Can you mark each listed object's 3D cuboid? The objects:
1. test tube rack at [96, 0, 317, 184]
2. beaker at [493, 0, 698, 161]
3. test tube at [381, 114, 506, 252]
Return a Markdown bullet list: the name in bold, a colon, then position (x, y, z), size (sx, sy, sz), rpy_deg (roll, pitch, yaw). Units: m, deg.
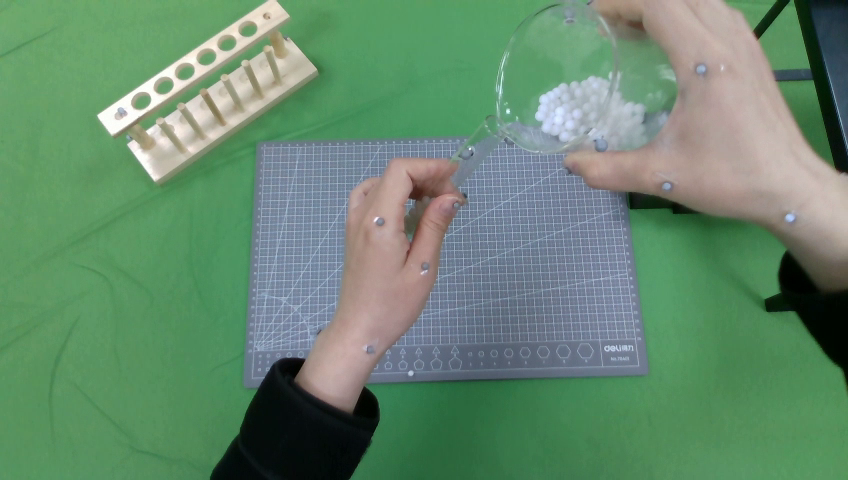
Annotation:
- **test tube rack**: position (-0.253, -0.178, 0.729), size (0.242, 0.085, 0.066), rpy_deg (-38, 77, -10)
- **beaker**: position (0.097, -0.080, 0.336), size (0.101, 0.084, 0.073), rpy_deg (-1, 67, -42)
- **test tube**: position (0.006, -0.030, 0.389), size (0.017, 0.150, 0.017), rpy_deg (14, 56, -22)
